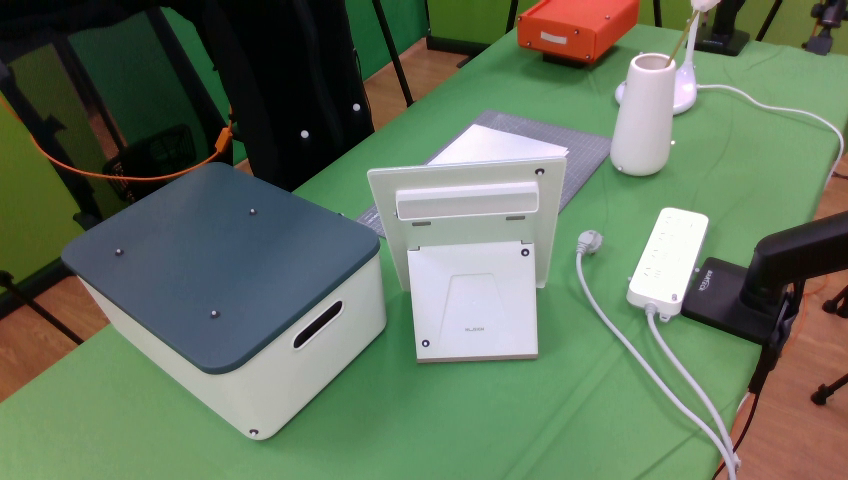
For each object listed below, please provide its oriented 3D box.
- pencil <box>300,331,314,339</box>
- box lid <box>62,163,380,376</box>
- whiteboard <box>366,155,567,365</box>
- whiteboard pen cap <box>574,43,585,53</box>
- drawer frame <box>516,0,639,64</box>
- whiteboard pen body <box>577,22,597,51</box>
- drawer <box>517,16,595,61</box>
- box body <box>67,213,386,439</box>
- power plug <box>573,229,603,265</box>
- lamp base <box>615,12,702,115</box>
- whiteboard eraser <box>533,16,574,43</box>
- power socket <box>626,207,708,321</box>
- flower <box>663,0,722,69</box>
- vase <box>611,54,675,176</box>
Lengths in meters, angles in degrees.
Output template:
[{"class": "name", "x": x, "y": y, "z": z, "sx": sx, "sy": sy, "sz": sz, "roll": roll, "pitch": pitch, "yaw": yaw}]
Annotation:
[{"class": "pencil", "x": -0.204, "y": 0.121, "z": 0.878, "sx": 0.192, "sy": 0.012, "sz": 0.012, "roll": 17, "pitch": 45, "yaw": 38}, {"class": "box lid", "x": -0.263, "y": 0.012, "z": 0.774, "sx": 0.368, "sy": 0.015, "sz": 0.264, "roll": 23, "pitch": 49, "yaw": 32}, {"class": "whiteboard", "x": 0.059, "y": 0.049, "z": 0.738, "sx": 0.217, "sy": 0.307, "sz": 0.143, "roll": -3, "pitch": 60, "yaw": 5}, {"class": "whiteboard pen cap", "x": 0.347, "y": -0.429, "z": 1.350, "sx": 0.018, "sy": 0.018, "sz": 0.033, "roll": 17, "pitch": 40, "yaw": 25}, {"class": "drawer frame", "x": 0.356, "y": -0.507, "z": 1.410, "sx": 0.200, "sy": 0.083, "sz": 0.214, "roll": 25, "pitch": 51, "yaw": 32}, {"class": "whiteboard pen body", "x": 0.373, "y": -0.467, "z": 1.390, "sx": 0.017, "sy": 0.017, "sz": 0.141, "roll": 14, "pitch": 47, "yaw": 23}, {"class": "drawer", "x": 0.353, "y": -0.505, "z": 1.404, "sx": 0.193, "sy": 0.073, "sz": 0.212, "roll": 25, "pitch": 50, "yaw": 33}, {"class": "box body", "x": -0.257, "y": 0.068, "z": 0.824, "sx": 0.361, "sy": 0.161, "sz": 0.255, "roll": 24, "pitch": 49, "yaw": 31}, {"class": "power plug", "x": 0.241, "y": 0.014, "z": 0.914, "sx": 0.072, "sy": 0.053, "sz": 0.035, "roll": -45, "pitch": 55, "yaw": -11}, {"class": "lamp base", "x": 0.484, "y": -0.363, "z": 1.211, "sx": 0.180, "sy": 0.181, "sz": 0.159, "roll": -15, "pitch": 41, "yaw": -14}, {"class": "whiteboard eraser", "x": 0.305, "y": -0.493, "z": 1.422, "sx": 0.055, "sy": 0.042, "sz": 0.113, "roll": 27, "pitch": 43, "yaw": 25}, {"class": "power socket", "x": 0.360, "y": 0.025, "z": 0.886, "sx": 0.072, "sy": 0.033, "sz": 0.227, "roll": 16, "pitch": 46, "yaw": 26}, {"class": "flower", "x": 0.379, "y": -0.261, "z": 0.965, "sx": 0.044, "sy": 0.362, "sz": 0.038, "roll": 20, "pitch": 53, "yaw": 5}, {"class": "vase", "x": 0.377, "y": -0.209, "z": 1.031, "sx": 0.098, "sy": 0.201, "sz": 0.097, "roll": -3, "pitch": 40, "yaw": 3}]
